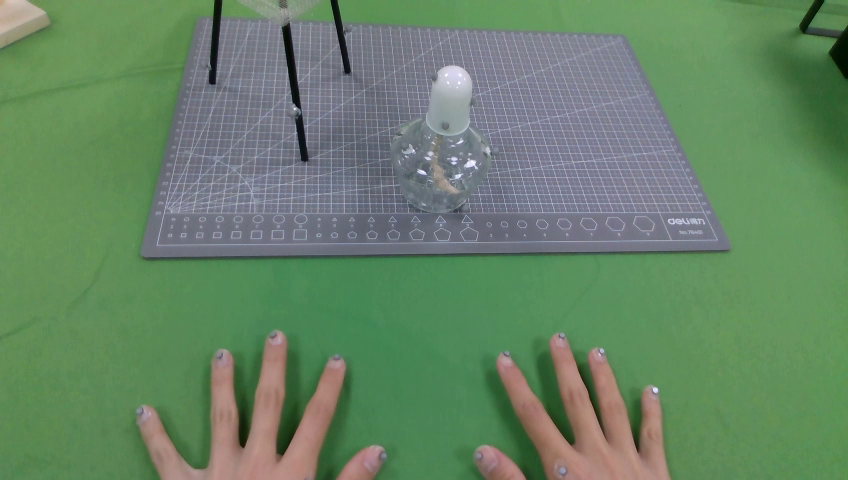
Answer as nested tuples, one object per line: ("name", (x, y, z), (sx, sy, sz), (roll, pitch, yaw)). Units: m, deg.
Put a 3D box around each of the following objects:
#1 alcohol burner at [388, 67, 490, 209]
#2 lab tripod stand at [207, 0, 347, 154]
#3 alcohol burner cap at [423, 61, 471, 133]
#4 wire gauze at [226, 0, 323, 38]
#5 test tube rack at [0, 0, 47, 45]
("alcohol burner", (0.014, -0.080, 0.448), (0.078, 0.120, 0.077), (5, 51, -6))
("lab tripod stand", (-0.113, -0.164, 0.483), (0.149, 0.132, 0.147), (5, 53, -6))
("alcohol burner cap", (0.017, -0.101, 0.419), (0.034, 0.048, 0.033), (2, 57, -3))
("wire gauze", (-0.108, -0.204, 0.432), (0.124, 0.011, 0.121), (33, 58, 12))
("test tube rack", (-0.443, -0.172, 0.478), (0.066, 0.086, 0.241), (31, 54, 15))
